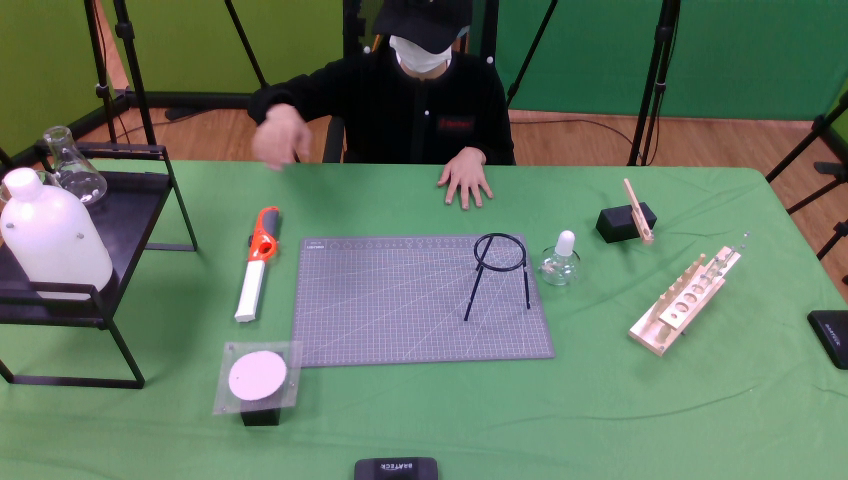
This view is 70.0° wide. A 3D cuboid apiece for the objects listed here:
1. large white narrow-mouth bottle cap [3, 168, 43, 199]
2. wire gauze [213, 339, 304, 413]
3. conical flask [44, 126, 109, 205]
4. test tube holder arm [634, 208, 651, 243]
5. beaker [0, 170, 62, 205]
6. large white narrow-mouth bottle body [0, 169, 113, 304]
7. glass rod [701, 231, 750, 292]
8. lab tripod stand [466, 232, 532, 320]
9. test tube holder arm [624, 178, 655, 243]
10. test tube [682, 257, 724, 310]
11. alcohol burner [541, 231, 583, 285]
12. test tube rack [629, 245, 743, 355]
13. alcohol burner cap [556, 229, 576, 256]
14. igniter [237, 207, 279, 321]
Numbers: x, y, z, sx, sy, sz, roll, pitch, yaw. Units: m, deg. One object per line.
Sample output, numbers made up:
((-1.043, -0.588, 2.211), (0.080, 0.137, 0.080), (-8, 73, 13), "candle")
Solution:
((-0.489, -0.069, 0.739), (0.038, 0.024, 0.037), (2, 46, -2), "large white narrow-mouth bottle cap")
((-0.250, 0.203, 0.925), (0.121, 0.011, 0.124), (-1, 46, -3), "wire gauze")
((-0.554, -0.119, 0.953), (0.075, 0.122, 0.075), (2, 46, -2), "conical flask")
((0.428, -0.030, 1.189), (0.010, 0.015, 0.087), (1, 47, -2), "test tube holder arm")
((-0.562, -0.042, 0.894), (0.084, 0.101, 0.073), (-2, 47, -7), "beaker")
((-0.492, -0.010, 0.801), (0.102, 0.195, 0.101), (2, 46, -2), "large white narrow-mouth bottle body")
((0.519, 0.045, 1.050), (0.008, 0.201, 0.008), (0, 55, 0), "glass rod")
((0.125, 0.059, 1.065), (0.148, 0.132, 0.147), (1, 45, 0), "lab tripod stand")
((0.432, -0.062, 1.220), (0.013, 0.015, 0.177), (0, 47, -2), "test tube holder arm")
((0.475, 0.080, 1.037), (0.017, 0.151, 0.017), (2, 51, -2), "test tube")
((0.258, 0.028, 1.123), (0.078, 0.120, 0.077), (1, 48, -1), "alcohol burner")
((0.474, 0.095, 1.091), (0.242, 0.085, 0.066), (-34, 56, -31), "test tube rack")
((0.260, 0.002, 1.098), (0.034, 0.048, 0.033), (3, 40, -2), "alcohol burner cap")
((-0.309, 0.035, 1.136), (0.057, 0.025, 0.274), (-7, 45, 4), "igniter")
